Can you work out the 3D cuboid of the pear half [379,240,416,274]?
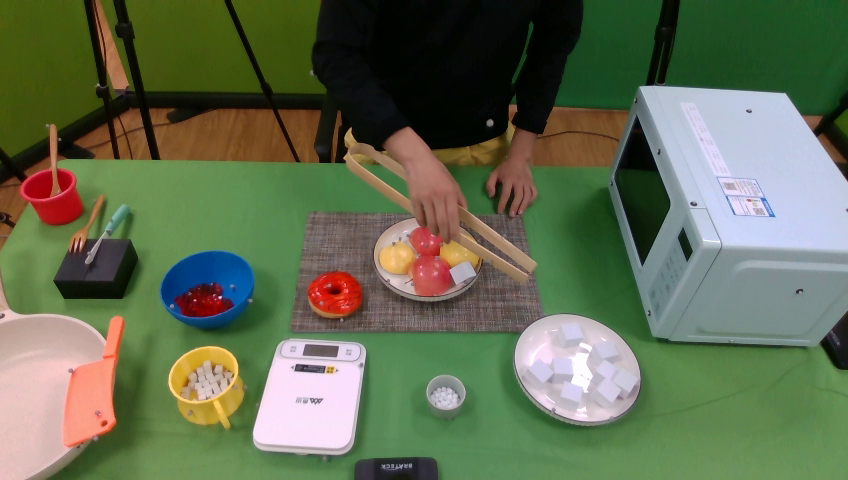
[{"bbox_3d":[-0.048,0.024,1.146,0.070,0.031,0.087,11,46,-11],"label":"pear half"}]

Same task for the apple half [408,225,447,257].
[{"bbox_3d":[0.011,-0.006,1.176,0.081,0.033,0.081,2,53,-3],"label":"apple half"}]

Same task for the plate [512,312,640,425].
[{"bbox_3d":[0.246,0.213,0.999,0.208,0.039,0.206,2,46,-2],"label":"plate"}]

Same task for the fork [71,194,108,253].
[{"bbox_3d":[-0.634,-0.036,1.158,0.028,0.019,0.206,-8,31,-8],"label":"fork"}]

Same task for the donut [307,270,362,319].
[{"bbox_3d":[-0.158,0.096,1.073,0.099,0.048,0.098,4,46,-4],"label":"donut"}]

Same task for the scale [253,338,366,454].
[{"bbox_3d":[-0.175,0.236,0.951,0.149,0.032,0.199,5,45,0],"label":"scale"}]

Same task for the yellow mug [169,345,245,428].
[{"bbox_3d":[-0.322,0.230,0.922,0.100,0.064,0.130,-24,53,-25],"label":"yellow mug"}]

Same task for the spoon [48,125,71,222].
[{"bbox_3d":[-0.718,-0.131,1.188,0.041,0.021,0.193,-3,90,-7],"label":"spoon"}]

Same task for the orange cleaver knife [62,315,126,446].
[{"bbox_3d":[-0.480,0.199,0.887,0.077,0.012,0.210,-9,47,-7],"label":"orange cleaver knife"}]

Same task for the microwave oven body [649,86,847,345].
[{"bbox_3d":[0.567,-0.053,1.118,0.326,0.261,0.439,2,45,-1],"label":"microwave oven body"}]

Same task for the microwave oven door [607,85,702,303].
[{"bbox_3d":[0.423,-0.094,1.140,0.039,0.245,0.353,2,46,-1],"label":"microwave oven door"}]

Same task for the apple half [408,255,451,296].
[{"bbox_3d":[0.012,0.058,1.103,0.075,0.053,0.080,-5,44,-14],"label":"apple half"}]

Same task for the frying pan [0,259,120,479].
[{"bbox_3d":[-0.647,0.164,0.936,0.307,0.103,0.485,-19,58,-22],"label":"frying pan"}]

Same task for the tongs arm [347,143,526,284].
[{"bbox_3d":[0.011,-0.046,1.031,0.386,0.028,0.028,36,53,12],"label":"tongs arm"}]

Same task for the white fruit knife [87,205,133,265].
[{"bbox_3d":[-0.584,-0.013,1.129,0.016,0.027,0.206,-1,32,-4],"label":"white fruit knife"}]

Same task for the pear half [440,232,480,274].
[{"bbox_3d":[0.065,0.007,1.150,0.076,0.056,0.109,-10,43,-1],"label":"pear half"}]

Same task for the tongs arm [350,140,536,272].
[{"bbox_3d":[0.026,-0.060,1.047,0.383,0.026,0.050,39,50,15],"label":"tongs arm"}]

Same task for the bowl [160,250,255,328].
[{"bbox_3d":[-0.362,0.098,1.040,0.151,0.077,0.150,2,45,-2],"label":"bowl"}]

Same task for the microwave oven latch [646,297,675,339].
[{"bbox_3d":[0.412,0.134,1.061,0.030,0.029,0.078,4,45,1],"label":"microwave oven latch"}]

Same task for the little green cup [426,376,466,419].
[{"bbox_3d":[0.033,0.248,0.950,0.061,0.039,0.061,2,46,-2],"label":"little green cup"}]

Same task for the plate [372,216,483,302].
[{"bbox_3d":[0.006,0.038,1.145,0.209,0.038,0.208,2,46,-2],"label":"plate"}]
